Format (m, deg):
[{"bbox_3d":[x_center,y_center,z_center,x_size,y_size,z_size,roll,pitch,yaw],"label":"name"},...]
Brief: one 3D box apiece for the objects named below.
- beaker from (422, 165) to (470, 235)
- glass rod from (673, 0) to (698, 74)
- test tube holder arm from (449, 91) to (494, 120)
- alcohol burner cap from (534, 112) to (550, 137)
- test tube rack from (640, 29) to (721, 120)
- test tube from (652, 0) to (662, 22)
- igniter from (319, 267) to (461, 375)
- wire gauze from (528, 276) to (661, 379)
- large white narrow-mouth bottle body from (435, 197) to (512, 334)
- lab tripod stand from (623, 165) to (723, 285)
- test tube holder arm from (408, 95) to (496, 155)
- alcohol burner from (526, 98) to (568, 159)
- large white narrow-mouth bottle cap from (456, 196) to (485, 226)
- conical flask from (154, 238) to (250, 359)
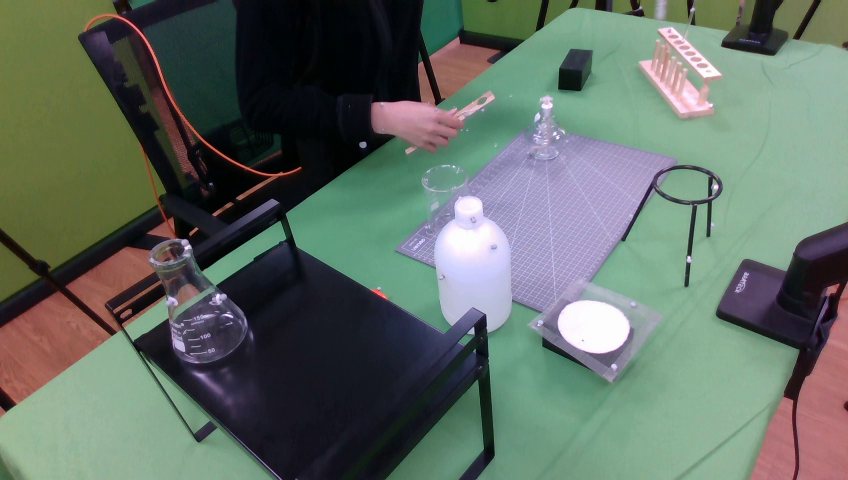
[{"bbox_3d":[0.041,-0.063,0.986,0.073,0.101,0.084,20,47,29],"label":"beaker"},{"bbox_3d":[0.538,-0.425,1.244,0.008,0.200,0.008,0,48,0],"label":"glass rod"},{"bbox_3d":[0.082,-0.229,1.042,0.088,0.010,0.015,-33,-2,7],"label":"test tube holder arm"},{"bbox_3d":[0.234,-0.231,1.197,0.034,0.048,0.033,-4,39,4],"label":"alcohol burner cap"},{"bbox_3d":[0.527,-0.351,1.262,0.067,0.085,0.241,-8,40,1],"label":"test tube rack"},{"bbox_3d":[0.401,-0.447,1.034,0.017,0.151,0.017,-8,41,7],"label":"test tube"},{"bbox_3d":[-0.060,0.108,0.862,0.274,0.025,0.057,28,62,35],"label":"igniter"},{"bbox_3d":[0.214,0.103,0.763,0.124,0.011,0.122,30,53,35],"label":"wire gauze"},{"bbox_3d":[0.066,0.028,0.805,0.102,0.195,0.101,-4,40,4],"label":"large white narrow-mouth bottle body"},{"bbox_3d":[0.366,-0.030,0.874,0.148,0.132,0.147,-6,41,6],"label":"lab tripod stand"},{"bbox_3d":[0.047,-0.199,1.048,0.178,0.013,0.015,-34,-2,7],"label":"test tube holder arm"},{"bbox_3d":[0.228,-0.210,1.118,0.078,0.119,0.077,-5,43,5],"label":"alcohol burner"},{"bbox_3d":[0.058,-0.036,0.749,0.038,0.024,0.037,-4,40,4],"label":"large white narrow-mouth bottle cap"},{"bbox_3d":[-0.225,0.055,0.597,0.075,0.122,0.075,-5,41,4],"label":"conical flask"}]
